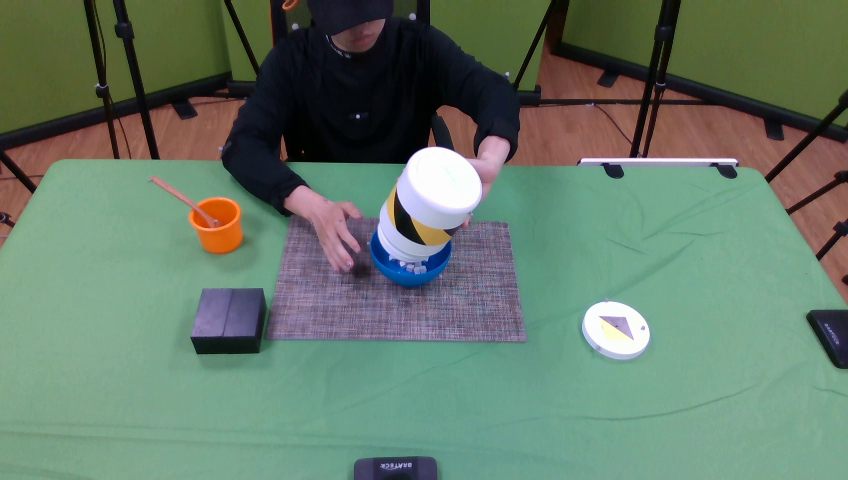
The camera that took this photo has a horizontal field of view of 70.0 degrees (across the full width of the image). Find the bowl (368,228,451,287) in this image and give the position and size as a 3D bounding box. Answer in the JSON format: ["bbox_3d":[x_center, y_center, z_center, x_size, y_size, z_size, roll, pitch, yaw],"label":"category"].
[{"bbox_3d":[-0.028,0.034,1.119,0.151,0.077,0.150,2,47,-2],"label":"bowl"}]

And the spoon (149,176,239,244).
[{"bbox_3d":[-0.427,-0.057,1.132,0.021,0.195,0.041,-27,31,34],"label":"spoon"}]

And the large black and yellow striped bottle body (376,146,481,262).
[{"bbox_3d":[0.000,-0.053,1.016,0.131,0.184,0.130,14,53,-19],"label":"large black and yellow striped bottle body"}]

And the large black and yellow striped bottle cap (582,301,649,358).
[{"bbox_3d":[0.340,0.157,1.077,0.115,0.019,0.114,1,47,-1],"label":"large black and yellow striped bottle cap"}]
